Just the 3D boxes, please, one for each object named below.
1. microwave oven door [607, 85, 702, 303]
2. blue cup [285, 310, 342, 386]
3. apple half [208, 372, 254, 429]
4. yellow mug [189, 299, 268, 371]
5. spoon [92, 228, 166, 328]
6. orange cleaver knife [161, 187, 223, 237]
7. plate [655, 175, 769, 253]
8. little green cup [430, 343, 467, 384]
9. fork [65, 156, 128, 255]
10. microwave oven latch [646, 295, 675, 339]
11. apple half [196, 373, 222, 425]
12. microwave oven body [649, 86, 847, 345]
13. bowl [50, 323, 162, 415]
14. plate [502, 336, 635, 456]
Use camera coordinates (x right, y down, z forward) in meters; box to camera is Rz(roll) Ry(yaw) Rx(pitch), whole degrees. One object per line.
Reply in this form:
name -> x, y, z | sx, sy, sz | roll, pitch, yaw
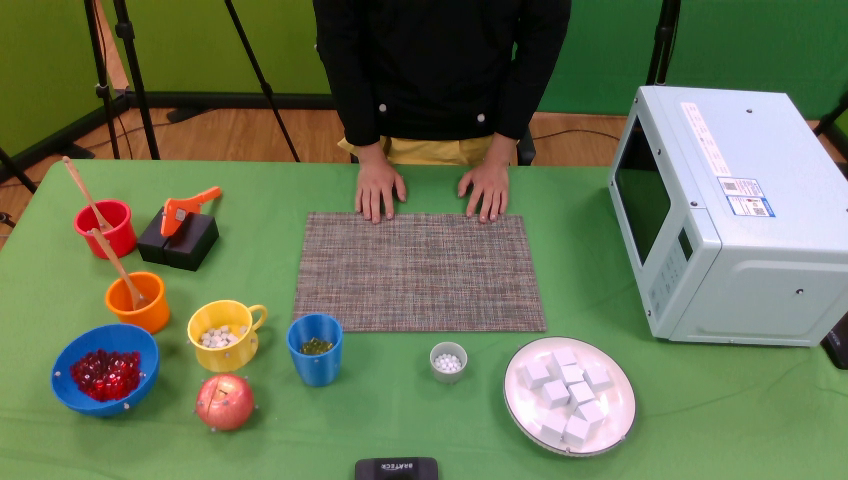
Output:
microwave oven door -> 0.423, -0.094, 1.141 | 0.039, 0.245, 0.353 | 2, 46, -1
blue cup -> -0.170, 0.179, 0.959 | 0.093, 0.101, 0.092 | 1, 44, -1
apple half -> -0.282, 0.244, 0.908 | 0.053, 0.075, 0.080 | 7, 43, -1
yellow mug -> -0.316, 0.148, 1.002 | 0.131, 0.064, 0.099 | -32, 56, -32
spoon -> -0.495, 0.063, 1.014 | 0.041, 0.194, 0.021 | -34, 12, -31
orange cleaver knife -> -0.448, -0.058, 1.180 | 0.012, 0.077, 0.211 | 13, 17, 6
plate -> 0.555, -0.046, 1.183 | 0.209, 0.038, 0.208 | 2, 46, -2
little green cup -> 0.039, 0.203, 0.994 | 0.061, 0.039, 0.061 | 2, 46, -2
fork -> -0.614, -0.064, 1.130 | 0.028, 0.018, 0.207 | -29, 97, -17
microwave oven latch -> 0.412, 0.134, 1.061 | 0.030, 0.029, 0.078 | 4, 45, 1
apple half -> -0.322, 0.239, 0.907 | 0.033, 0.081, 0.081 | 7, 46, -1
microwave oven body -> 0.568, -0.053, 1.118 | 0.326, 0.261, 0.439 | 2, 45, -1
bowl -> -0.472, 0.209, 0.924 | 0.151, 0.077, 0.150 | 3, 45, -2
plate -> 0.225, 0.248, 0.963 | 0.208, 0.039, 0.206 | 2, 46, -2
